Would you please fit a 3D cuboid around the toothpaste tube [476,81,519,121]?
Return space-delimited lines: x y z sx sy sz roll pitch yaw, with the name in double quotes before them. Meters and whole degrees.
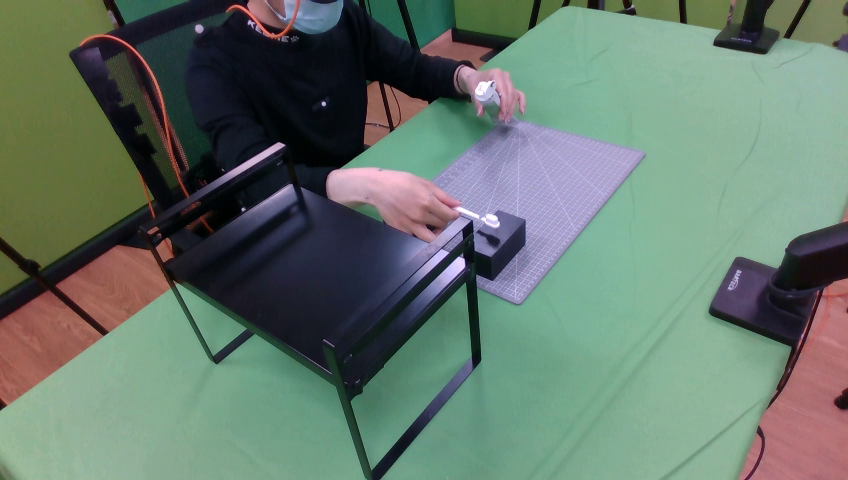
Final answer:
"toothpaste tube" 0.137 -0.260 1.153 0.055 0.166 0.034 9 83 24

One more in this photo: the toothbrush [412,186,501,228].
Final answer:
"toothbrush" 0.046 -0.055 0.938 0.180 0.017 0.014 25 57 38

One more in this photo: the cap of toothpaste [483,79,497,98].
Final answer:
"cap of toothpaste" 0.115 -0.268 1.064 0.011 0.037 0.037 34 53 18
